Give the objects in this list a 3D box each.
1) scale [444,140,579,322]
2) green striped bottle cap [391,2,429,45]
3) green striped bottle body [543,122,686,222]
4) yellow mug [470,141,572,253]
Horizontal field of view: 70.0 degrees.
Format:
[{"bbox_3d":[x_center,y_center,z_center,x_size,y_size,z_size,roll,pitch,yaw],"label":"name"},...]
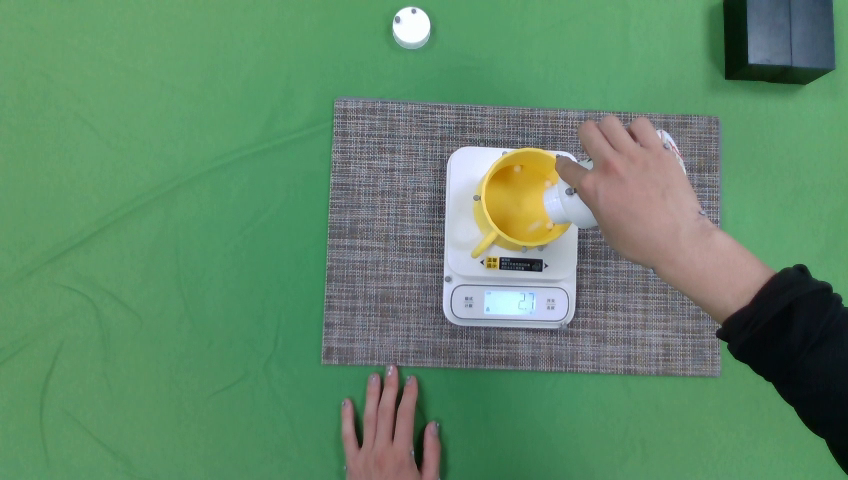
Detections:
[{"bbox_3d":[0.098,-0.010,0.676,0.149,0.031,0.200,2,86,-2],"label":"scale"},{"bbox_3d":[-0.016,-0.251,0.702,0.044,0.020,0.044,0,88,-2],"label":"green striped bottle cap"},{"bbox_3d":[0.170,-0.057,0.556,0.119,0.063,0.063,-21,85,37],"label":"green striped bottle body"},{"bbox_3d":[0.093,-0.035,0.630,0.100,0.064,0.131,42,86,1],"label":"yellow mug"}]
